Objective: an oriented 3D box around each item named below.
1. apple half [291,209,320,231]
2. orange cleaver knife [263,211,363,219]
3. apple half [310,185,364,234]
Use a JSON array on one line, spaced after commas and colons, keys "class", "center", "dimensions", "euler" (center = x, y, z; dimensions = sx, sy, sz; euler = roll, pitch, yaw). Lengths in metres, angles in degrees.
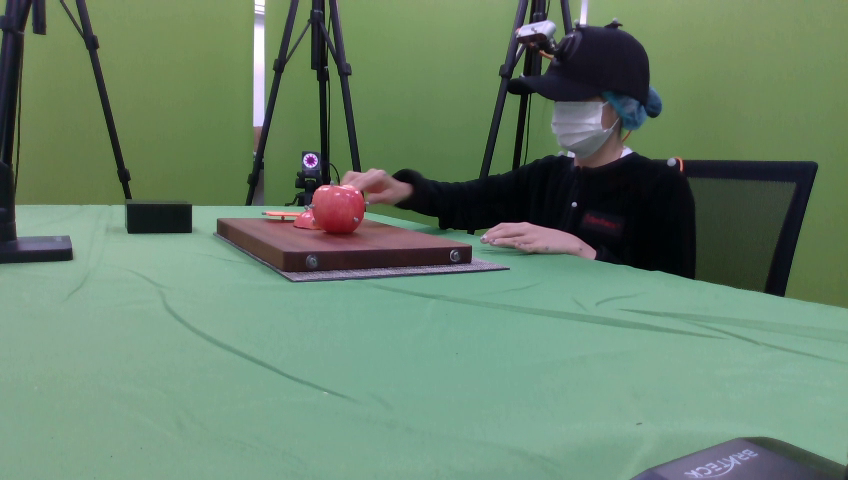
[{"class": "apple half", "center": [-0.178, -0.036, 0.980], "dimensions": [0.081, 0.033, 0.081], "euler": [5, 9, 0]}, {"class": "orange cleaver knife", "center": [-0.192, -0.045, 1.097], "dimensions": [0.212, 0.012, 0.077], "euler": [0, 5, -39]}, {"class": "apple half", "center": [-0.123, -0.045, 0.906], "dimensions": [0.081, 0.074, 0.053], "euler": [2, 10, -42]}]
